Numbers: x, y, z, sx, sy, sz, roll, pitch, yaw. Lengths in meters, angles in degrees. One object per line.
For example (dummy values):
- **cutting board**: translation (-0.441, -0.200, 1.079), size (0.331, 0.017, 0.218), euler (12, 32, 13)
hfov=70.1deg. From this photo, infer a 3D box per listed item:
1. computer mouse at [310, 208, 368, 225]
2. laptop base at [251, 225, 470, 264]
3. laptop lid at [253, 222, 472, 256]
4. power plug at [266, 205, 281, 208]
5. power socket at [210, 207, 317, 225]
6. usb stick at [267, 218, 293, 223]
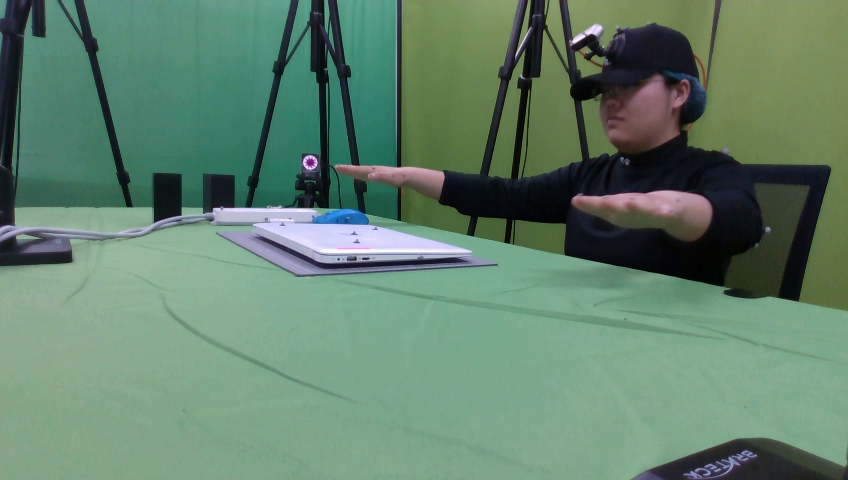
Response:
- **computer mouse**: translation (-0.179, -0.045, 1.274), size (0.118, 0.041, 0.062), euler (-6, 13, -29)
- **laptop base**: translation (-0.115, 0.007, 0.955), size (0.237, 0.023, 0.352), euler (2, 6, -31)
- **laptop lid**: translation (-0.113, -0.005, 0.955), size (0.243, 0.013, 0.355), euler (1, 7, -29)
- **power plug**: translation (-0.343, -0.056, 1.365), size (0.053, 0.035, 0.072), euler (-22, -9, -15)
- **power socket**: translation (-0.335, -0.051, 1.282), size (0.228, 0.032, 0.072), euler (-1, 9, -28)
- **usb stick**: translation (-0.272, -0.026, 1.107), size (0.059, 0.027, 0.021), euler (-3, 11, -28)
